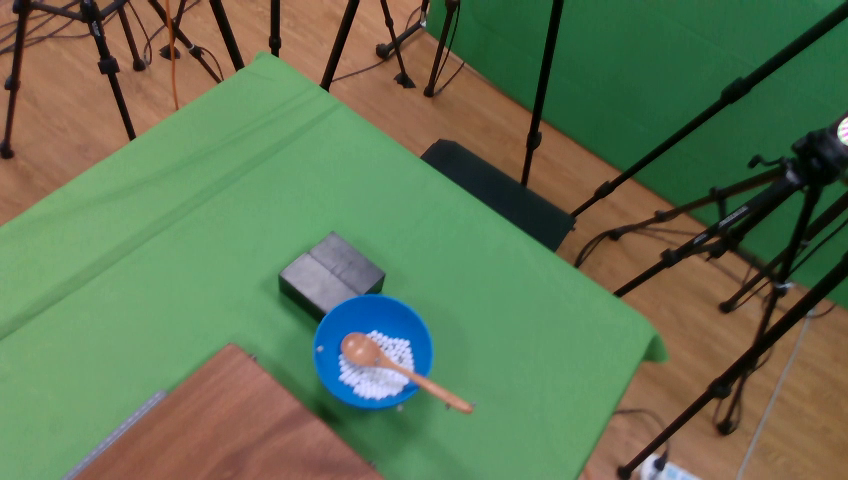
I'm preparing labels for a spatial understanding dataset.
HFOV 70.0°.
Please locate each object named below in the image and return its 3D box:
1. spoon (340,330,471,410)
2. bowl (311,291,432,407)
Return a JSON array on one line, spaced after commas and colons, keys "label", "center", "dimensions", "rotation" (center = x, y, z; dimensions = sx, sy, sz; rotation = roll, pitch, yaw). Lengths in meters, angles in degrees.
[{"label": "spoon", "center": [-0.026, 0.162, 0.748], "dimensions": [0.192, 0.022, 0.041], "rotation": [22, 52, 29]}, {"label": "bowl", "center": [-0.070, 0.150, 0.781], "dimensions": [0.152, 0.077, 0.150], "rotation": [6, 59, -9]}]
